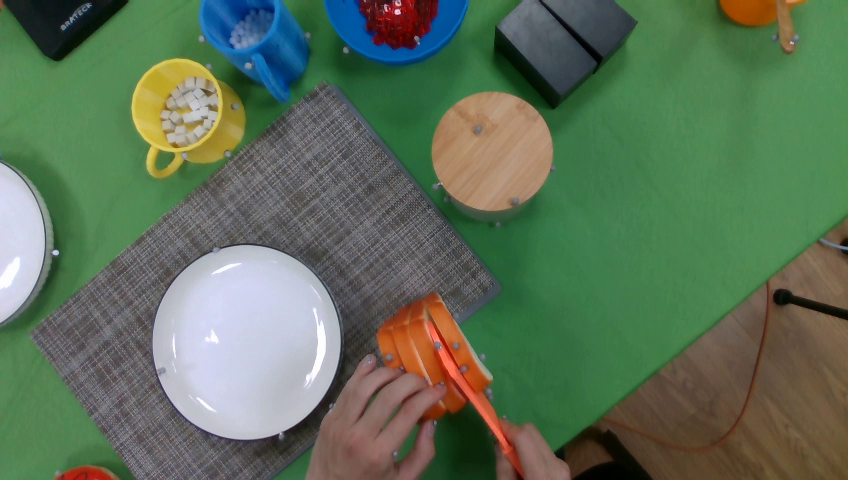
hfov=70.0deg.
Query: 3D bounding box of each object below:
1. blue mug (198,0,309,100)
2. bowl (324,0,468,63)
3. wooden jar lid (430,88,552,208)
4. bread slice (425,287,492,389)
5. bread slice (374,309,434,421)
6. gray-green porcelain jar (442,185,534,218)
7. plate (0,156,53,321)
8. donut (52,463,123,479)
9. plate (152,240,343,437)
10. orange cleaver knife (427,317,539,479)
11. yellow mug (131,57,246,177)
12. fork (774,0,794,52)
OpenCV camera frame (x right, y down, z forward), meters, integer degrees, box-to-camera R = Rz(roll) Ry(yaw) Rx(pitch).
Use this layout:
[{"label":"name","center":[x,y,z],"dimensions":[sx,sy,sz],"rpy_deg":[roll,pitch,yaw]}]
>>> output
[{"label":"blue mug","center":[-0.171,-0.205,0.642],"dimensions":[0.082,0.106,0.116],"rpy_deg":[-20,86,3]},{"label":"bowl","center":[-0.025,-0.253,0.646],"dimensions":[0.151,0.077,0.151],"rpy_deg":[0,88,5]},{"label":"wooden jar lid","center":[0.060,-0.081,0.545],"dimensions":[0.108,0.021,0.108],"rpy_deg":[0,87,2]},{"label":"bread slice","center":[0.035,0.097,0.601],"dimensions":[0.019,0.131,0.105],"rpy_deg":[-32,89,1]},{"label":"bread slice","center":[-0.019,0.122,0.605],"dimensions":[0.018,0.134,0.107],"rpy_deg":[-25,85,2]},{"label":"gray-green porcelain jar","center":[0.066,-0.077,0.607],"dimensions":[0.106,0.127,0.105],"rpy_deg":[0,87,4]},{"label":"plate","center":[-0.519,0.000,0.692],"dimensions":[0.207,0.039,0.207],"rpy_deg":[0,88,4]},{"label":"donut","center":[-0.371,0.295,0.664],"dimensions":[0.099,0.048,0.099],"rpy_deg":[0,86,3]},{"label":"plate","center":[-0.188,0.104,0.658],"dimensions":[0.209,0.038,0.209],"rpy_deg":[0,87,5]},{"label":"orange cleaver knife","center":[0.059,0.161,0.581],"dimensions":[0.012,0.076,0.213],"rpy_deg":[-31,114,4]},{"label":"yellow mug","center":[-0.264,-0.127,0.664],"dimensions":[0.100,0.064,0.131],"rpy_deg":[29,91,6]},{"label":"fork","center":[0.335,-0.234,0.581],"dimensions":[0.028,0.019,0.206],"rpy_deg":[23,45,-2]}]
